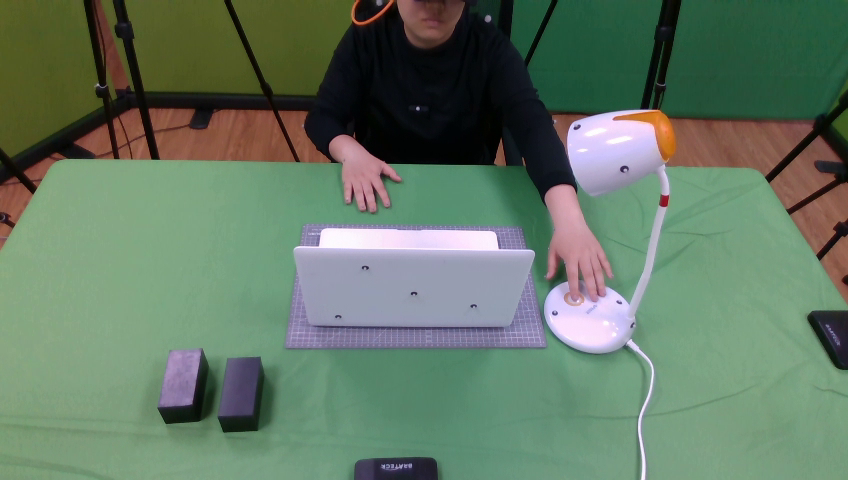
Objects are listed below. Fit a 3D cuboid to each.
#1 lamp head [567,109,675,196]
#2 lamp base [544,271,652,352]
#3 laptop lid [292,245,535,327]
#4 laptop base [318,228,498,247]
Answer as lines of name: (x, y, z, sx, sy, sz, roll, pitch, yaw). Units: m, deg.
lamp head: (0.272, -0.123, 0.818, 0.122, 0.113, 0.112, -9, 35, 37)
lamp base: (0.310, 0.086, 1.029, 0.178, 0.181, 0.160, 32, 52, 21)
laptop lid: (-0.018, 0.080, 0.956, 0.357, 0.243, 0.013, 2, 54, -5)
laptop base: (-0.027, 0.066, 1.134, 0.355, 0.023, 0.234, 1, 43, -4)
